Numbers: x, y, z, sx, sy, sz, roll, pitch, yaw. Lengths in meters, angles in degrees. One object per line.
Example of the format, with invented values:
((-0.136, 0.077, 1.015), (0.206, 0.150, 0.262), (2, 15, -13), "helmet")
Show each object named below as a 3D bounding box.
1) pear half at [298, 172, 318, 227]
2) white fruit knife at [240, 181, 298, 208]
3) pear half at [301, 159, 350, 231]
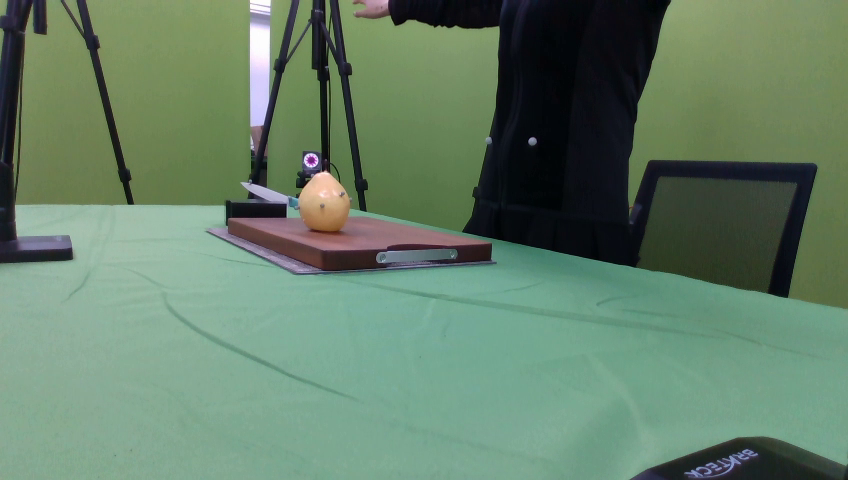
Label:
((-0.172, -0.062, 0.938), (0.031, 0.088, 0.071), (8, 14, 34), "pear half")
((-0.269, -0.077, 1.213), (0.208, 0.027, 0.016), (22, 5, -28), "white fruit knife")
((-0.143, -0.068, 0.917), (0.055, 0.110, 0.077), (8, 12, 34), "pear half")
